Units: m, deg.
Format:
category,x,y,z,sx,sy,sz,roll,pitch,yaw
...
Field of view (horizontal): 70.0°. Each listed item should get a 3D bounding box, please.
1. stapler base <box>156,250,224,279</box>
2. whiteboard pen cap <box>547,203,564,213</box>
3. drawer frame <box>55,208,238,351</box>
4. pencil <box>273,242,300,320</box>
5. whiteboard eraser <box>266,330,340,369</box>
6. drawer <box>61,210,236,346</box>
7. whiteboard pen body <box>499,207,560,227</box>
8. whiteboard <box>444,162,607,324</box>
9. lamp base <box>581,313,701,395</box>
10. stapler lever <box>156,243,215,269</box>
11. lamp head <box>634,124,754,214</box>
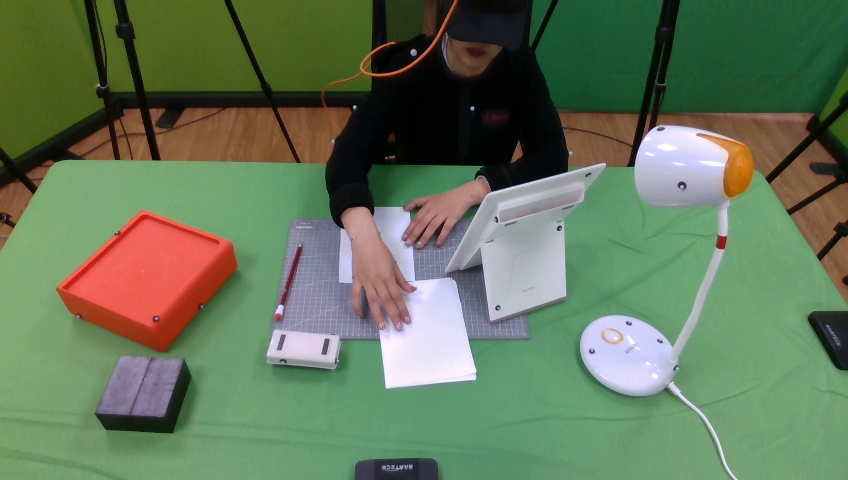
category,x,y,z,sx,sy,sz,roll,pitch,yaw
stapler base,-0.431,0.040,1.110,0.130,0.024,0.041,11,38,17
whiteboard pen cap,0.277,-0.066,1.275,0.033,0.018,0.018,-18,50,-15
drawer frame,-0.474,0.062,1.060,0.201,0.083,0.213,18,48,12
pencil,-0.249,0.071,1.115,0.012,0.012,0.193,5,44,1
whiteboard eraser,-0.198,0.181,0.994,0.113,0.042,0.055,5,45,1
drawer,-0.474,0.061,1.063,0.194,0.073,0.211,19,48,13
whiteboard pen body,0.222,-0.051,1.259,0.141,0.017,0.017,-15,49,-16
whiteboard,0.186,0.025,1.029,0.217,0.306,0.143,-15,68,-18
lamp base,0.361,0.144,0.973,0.178,0.181,0.160,34,53,23
stapler lever,-0.432,0.023,1.097,0.118,0.040,0.026,14,39,14
lamp head,0.351,-0.089,0.776,0.112,0.113,0.122,-30,30,-28
